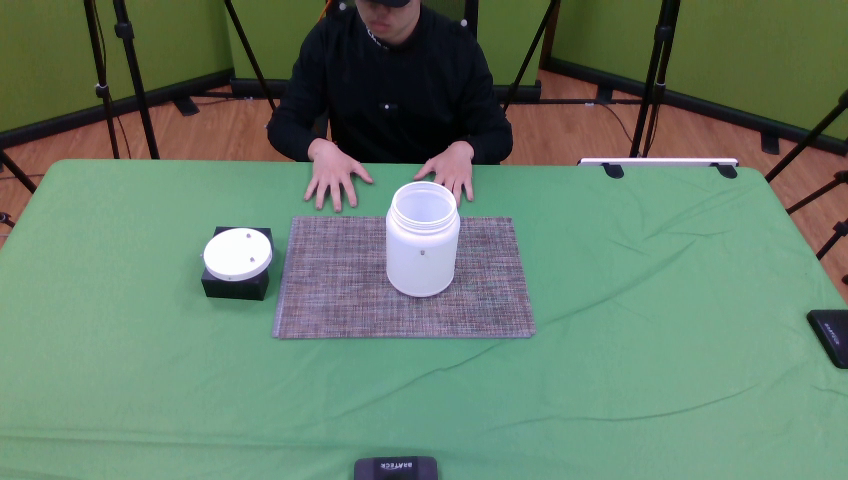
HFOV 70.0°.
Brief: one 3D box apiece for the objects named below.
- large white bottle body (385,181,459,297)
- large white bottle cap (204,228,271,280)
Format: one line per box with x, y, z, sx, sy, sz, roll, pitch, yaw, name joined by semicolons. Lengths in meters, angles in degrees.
-0.004;-0.003;1.082;0.131;0.185;0.130;2;46;-2;large white bottle body
-0.333;0.024;1.084;0.115;0.018;0.114;2;46;-2;large white bottle cap
